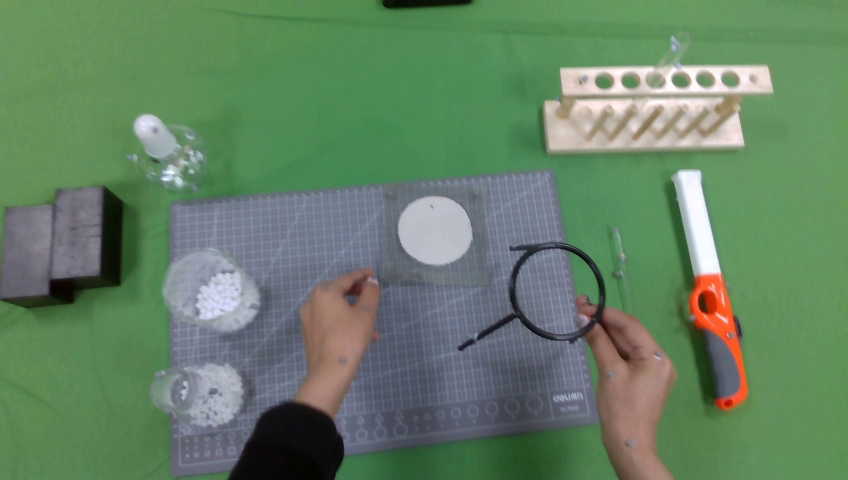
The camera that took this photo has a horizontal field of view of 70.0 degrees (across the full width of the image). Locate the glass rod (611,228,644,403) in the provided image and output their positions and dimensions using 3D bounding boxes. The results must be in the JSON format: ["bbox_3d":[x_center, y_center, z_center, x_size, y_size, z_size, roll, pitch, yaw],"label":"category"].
[{"bbox_3d":[0.231,0.083,0.689,0.008,0.008,0.198,-4,78,-5],"label":"glass rod"}]

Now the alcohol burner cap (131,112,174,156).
[{"bbox_3d":[-0.280,-0.112,0.620,0.034,0.048,0.033,1,68,-3],"label":"alcohol burner cap"}]

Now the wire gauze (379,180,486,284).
[{"bbox_3d":[0.011,-0.012,0.699,0.125,0.011,0.121,3,74,-5],"label":"wire gauze"}]

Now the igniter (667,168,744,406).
[{"bbox_3d":[0.321,0.048,0.694,0.057,0.025,0.275,-1,74,-14],"label":"igniter"}]

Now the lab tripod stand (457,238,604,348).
[{"bbox_3d":[0.105,0.061,0.597,0.149,0.132,0.147,2,77,-9],"label":"lab tripod stand"}]

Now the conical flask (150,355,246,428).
[{"bbox_3d":[-0.222,0.144,0.583,0.075,0.122,0.075,1,74,-3],"label":"conical flask"}]

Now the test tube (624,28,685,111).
[{"bbox_3d":[0.252,-0.184,0.672,0.017,0.151,0.017,0,74,0],"label":"test tube"}]

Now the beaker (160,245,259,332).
[{"bbox_3d":[-0.211,0.055,0.620,0.084,0.100,0.074,30,75,5],"label":"beaker"}]

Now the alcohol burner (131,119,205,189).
[{"bbox_3d":[-0.282,-0.100,0.654,0.078,0.119,0.077,0,75,-1],"label":"alcohol burner"}]

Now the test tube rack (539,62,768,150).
[{"bbox_3d":[0.268,-0.157,0.717,0.242,0.085,0.066,-2,74,-4],"label":"test tube rack"}]
